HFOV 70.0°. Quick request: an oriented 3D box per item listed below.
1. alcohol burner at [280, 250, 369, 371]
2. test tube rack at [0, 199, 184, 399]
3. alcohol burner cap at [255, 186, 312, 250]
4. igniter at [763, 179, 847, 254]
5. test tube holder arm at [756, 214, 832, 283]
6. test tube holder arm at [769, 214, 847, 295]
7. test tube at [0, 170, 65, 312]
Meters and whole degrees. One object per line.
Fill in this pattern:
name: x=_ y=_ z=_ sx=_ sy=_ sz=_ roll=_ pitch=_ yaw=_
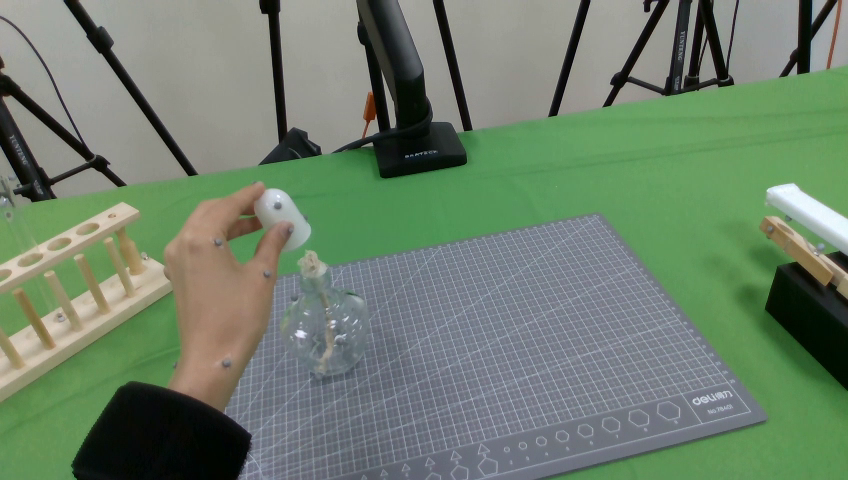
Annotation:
alcohol burner: x=-0.087 y=0.055 z=0.515 sx=0.078 sy=0.120 sz=0.077 roll=-3 pitch=38 yaw=3
test tube rack: x=-0.364 y=0.061 z=0.578 sx=0.066 sy=0.086 sz=0.242 roll=22 pitch=45 yaw=33
alcohol burner cap: x=-0.107 y=-0.019 z=0.454 sx=0.034 sy=0.048 sz=0.033 roll=-10 pitch=45 yaw=10
igniter: x=0.377 y=0.019 z=0.488 sx=0.057 sy=0.025 sz=0.273 roll=-12 pitch=33 yaw=-6
test tube holder arm: x=0.319 y=0.006 z=0.521 sx=0.010 sy=0.015 sz=0.087 roll=-7 pitch=36 yaw=-11
test tube holder arm: x=0.334 y=0.031 z=0.486 sx=0.013 sy=0.015 sz=0.176 roll=-7 pitch=36 yaw=-11
test tube: x=-0.371 y=0.006 z=0.570 sx=0.017 sy=0.151 sz=0.017 roll=-3 pitch=30 yaw=2
